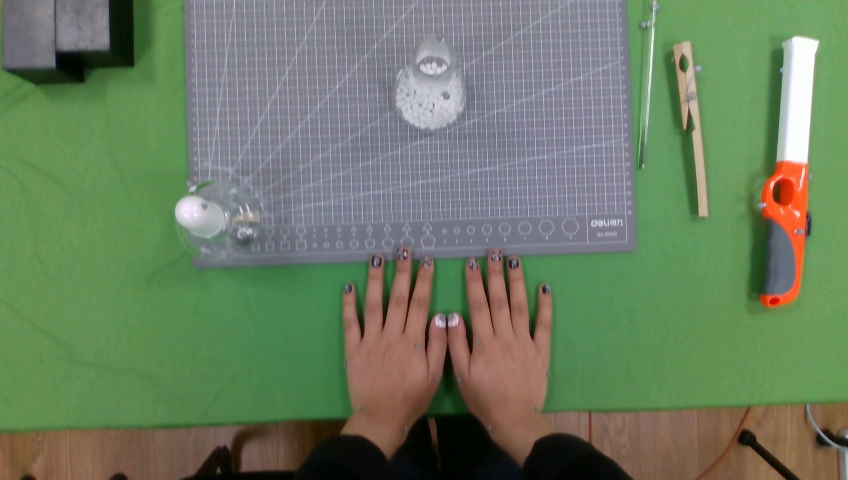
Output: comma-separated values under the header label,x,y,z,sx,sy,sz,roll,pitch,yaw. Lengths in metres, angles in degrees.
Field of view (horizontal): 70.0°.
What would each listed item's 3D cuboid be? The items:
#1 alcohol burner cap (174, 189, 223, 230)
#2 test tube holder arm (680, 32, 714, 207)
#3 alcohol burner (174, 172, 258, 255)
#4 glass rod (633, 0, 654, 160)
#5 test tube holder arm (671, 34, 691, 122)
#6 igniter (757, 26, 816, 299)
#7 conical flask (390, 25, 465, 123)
label,x,y,z,sx,sy,sz,roll,pitch,yaw
alcohol burner cap,-0.195,-0.028,0.517,0.034,0.048,0.033,0,81,-1
test tube holder arm,0.277,-0.121,0.617,0.013,0.015,0.178,-10,90,35
alcohol burner,-0.195,-0.025,0.552,0.078,0.119,0.078,0,88,0
glass rod,0.227,-0.182,0.622,0.008,0.008,0.199,4,92,-2
test tube holder arm,0.265,-0.165,0.620,0.010,0.015,0.088,-8,91,35
igniter,0.370,-0.077,0.617,0.057,0.025,0.276,5,90,-12
conical flask,0.005,-0.156,0.556,0.075,0.122,0.075,0,89,-1
